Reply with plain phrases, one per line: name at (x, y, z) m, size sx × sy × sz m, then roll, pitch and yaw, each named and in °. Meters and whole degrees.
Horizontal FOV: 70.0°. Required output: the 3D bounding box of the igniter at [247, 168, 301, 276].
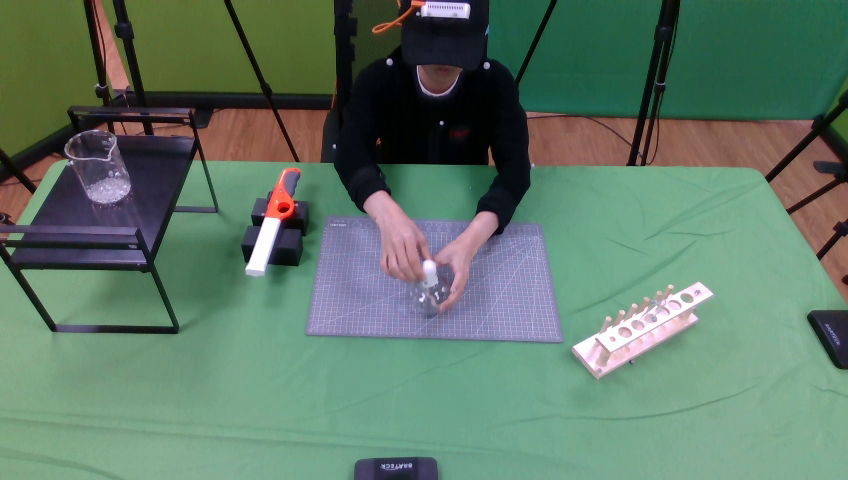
igniter at (-0.282, -0.043, 1.149) m, size 0.057 × 0.025 × 0.275 m, roll 7°, pitch 48°, yaw -1°

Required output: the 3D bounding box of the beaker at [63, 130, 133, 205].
beaker at (-0.511, -0.112, 0.964) m, size 0.083 × 0.101 × 0.074 m, roll 31°, pitch 52°, yaw 23°

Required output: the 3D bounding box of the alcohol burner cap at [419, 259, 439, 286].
alcohol burner cap at (0.008, 0.052, 1.017) m, size 0.034 × 0.048 × 0.033 m, roll -1°, pitch 49°, yaw 1°

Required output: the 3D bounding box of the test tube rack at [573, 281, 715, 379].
test tube rack at (0.378, 0.140, 1.038) m, size 0.242 × 0.085 × 0.066 m, roll -22°, pitch 51°, yaw -23°

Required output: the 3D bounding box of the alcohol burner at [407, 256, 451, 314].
alcohol burner at (0.008, 0.073, 1.041) m, size 0.078 × 0.120 × 0.077 m, roll -1°, pitch 47°, yaw 1°

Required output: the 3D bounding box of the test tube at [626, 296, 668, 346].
test tube at (0.352, 0.133, 0.970) m, size 0.017 × 0.151 × 0.017 m, roll 3°, pitch 54°, yaw -4°
